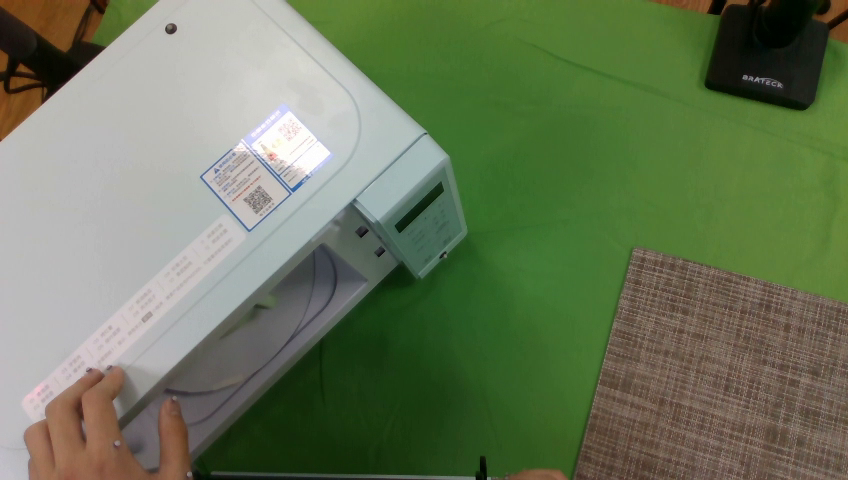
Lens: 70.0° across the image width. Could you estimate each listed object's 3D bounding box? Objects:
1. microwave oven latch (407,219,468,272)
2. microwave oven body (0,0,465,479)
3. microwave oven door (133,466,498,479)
[{"bbox_3d":[0.014,0.000,0.685,0.079,0.029,0.030,-42,75,-3],"label":"microwave oven latch"},{"bbox_3d":[-0.228,-0.002,0.617,0.441,0.261,0.324,-44,75,-4],"label":"microwave oven body"},{"bbox_3d":[-0.114,0.236,0.538,0.355,0.245,0.039,-2,76,7],"label":"microwave oven door"}]
